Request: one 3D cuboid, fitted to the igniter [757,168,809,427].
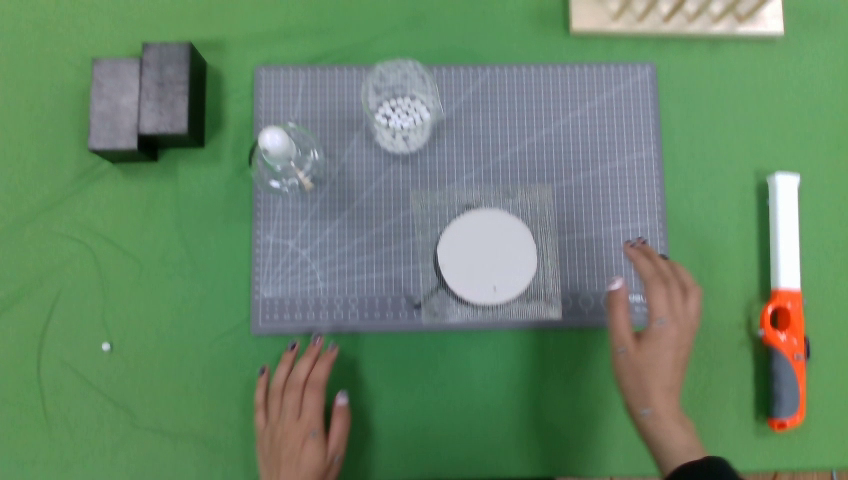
[{"bbox_3d":[0.384,0.059,0.649,0.057,0.025,0.275,4,83,-11],"label":"igniter"}]

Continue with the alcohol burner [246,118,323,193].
[{"bbox_3d":[-0.143,-0.089,0.606,0.078,0.119,0.077,0,81,0],"label":"alcohol burner"}]

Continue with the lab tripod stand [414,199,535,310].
[{"bbox_3d":[0.049,0.019,0.588,0.148,0.132,0.148,0,82,0],"label":"lab tripod stand"}]

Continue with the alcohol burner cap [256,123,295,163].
[{"bbox_3d":[-0.141,-0.093,0.571,0.034,0.048,0.034,0,85,-4],"label":"alcohol burner cap"}]

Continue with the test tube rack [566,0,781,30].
[{"bbox_3d":[0.284,-0.280,0.657,0.242,0.085,0.066,0,83,-1],"label":"test tube rack"}]

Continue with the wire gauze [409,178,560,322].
[{"bbox_3d":[0.052,0.007,0.522,0.125,0.011,0.121,-3,82,-2],"label":"wire gauze"}]

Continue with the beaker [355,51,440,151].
[{"bbox_3d":[-0.024,-0.136,0.622,0.084,0.100,0.074,23,83,1],"label":"beaker"}]
